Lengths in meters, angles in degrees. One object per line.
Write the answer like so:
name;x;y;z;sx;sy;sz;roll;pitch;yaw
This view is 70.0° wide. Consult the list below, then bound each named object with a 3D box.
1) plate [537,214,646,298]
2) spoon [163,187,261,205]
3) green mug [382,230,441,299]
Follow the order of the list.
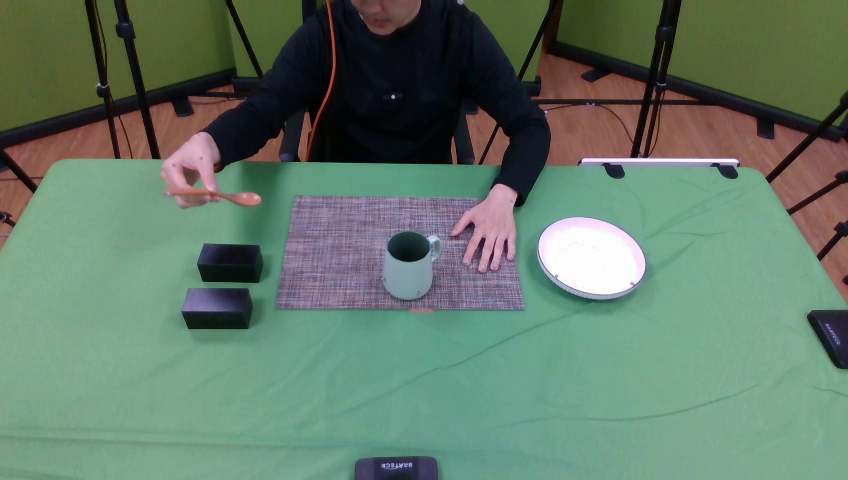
plate;0.321;0.035;1.176;0.209;0.038;0.208;2;47;-2
spoon;-0.342;-0.076;0.989;0.041;0.021;0.194;37;14;24
green mug;-0.017;0.037;1.097;0.125;0.105;0.092;-34;57;-31
